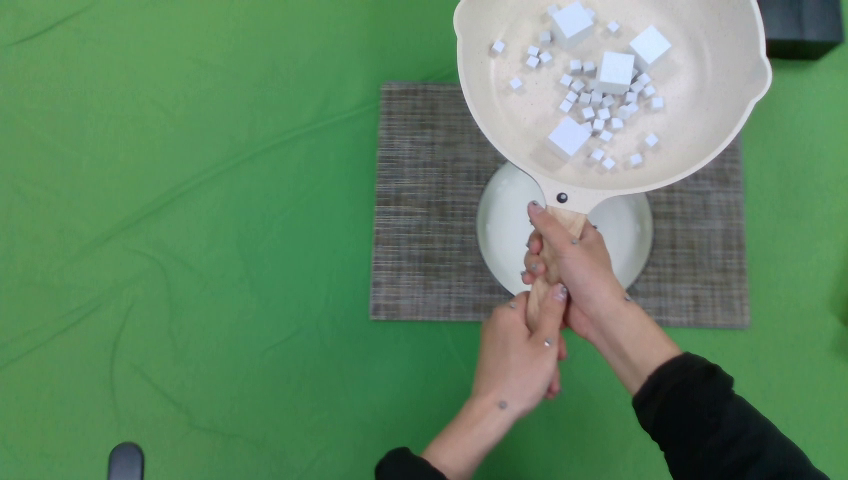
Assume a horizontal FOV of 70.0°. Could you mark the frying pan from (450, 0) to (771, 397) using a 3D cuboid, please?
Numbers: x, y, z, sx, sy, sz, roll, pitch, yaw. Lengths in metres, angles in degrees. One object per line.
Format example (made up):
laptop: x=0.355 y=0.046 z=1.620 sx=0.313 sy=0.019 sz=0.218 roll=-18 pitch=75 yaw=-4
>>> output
frying pan: x=0.149 y=-0.091 z=0.587 sx=0.306 sy=0.103 sz=0.486 roll=15 pitch=77 yaw=8

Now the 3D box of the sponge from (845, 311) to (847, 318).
sponge: x=0.595 y=0.021 z=0.701 sx=0.118 sy=0.061 sz=0.206 roll=24 pitch=82 yaw=5

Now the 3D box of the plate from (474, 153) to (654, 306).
plate: x=0.163 y=-0.024 z=0.719 sx=0.208 sy=0.039 sz=0.207 roll=0 pitch=81 yaw=1
